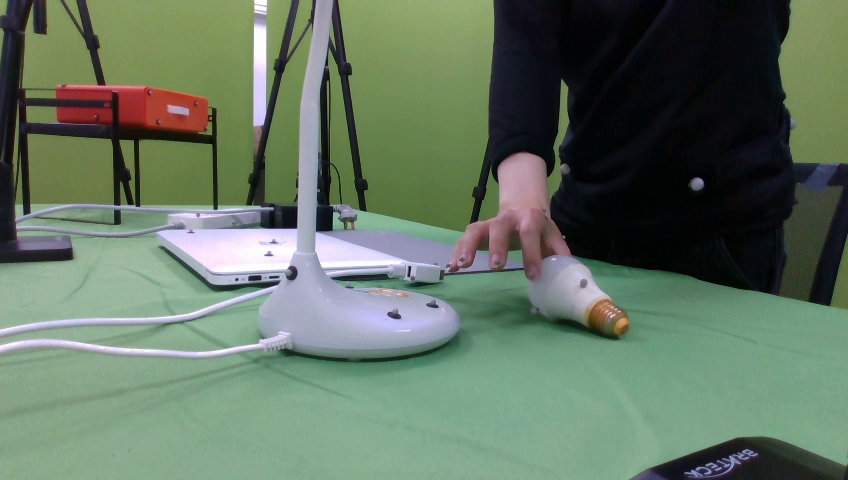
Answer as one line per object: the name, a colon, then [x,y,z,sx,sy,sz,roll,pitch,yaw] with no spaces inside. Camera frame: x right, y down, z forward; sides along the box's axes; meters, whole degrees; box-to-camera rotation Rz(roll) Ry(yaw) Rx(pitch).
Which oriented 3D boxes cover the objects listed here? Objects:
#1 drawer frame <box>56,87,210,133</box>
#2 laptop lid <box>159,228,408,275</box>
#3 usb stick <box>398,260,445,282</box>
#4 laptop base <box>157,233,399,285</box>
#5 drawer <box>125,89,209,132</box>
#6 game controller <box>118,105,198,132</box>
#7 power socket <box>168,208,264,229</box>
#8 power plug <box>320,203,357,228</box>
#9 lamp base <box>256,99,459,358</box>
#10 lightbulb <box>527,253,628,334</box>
drawer frame: [-0.598,-0.269,1.261,0.213,0.082,0.202,4,8,14]
laptop lid: [-0.201,0.007,0.806,0.243,0.013,0.355,-1,8,-31]
usb stick: [-0.001,0.036,0.696,0.027,0.021,0.059,6,-2,43]
laptop base: [-0.204,0.019,0.806,0.237,0.023,0.352,0,7,-33]
drawer: [-0.595,-0.268,1.263,0.211,0.073,0.195,4,8,15]
game controller: [-0.554,-0.252,1.254,0.097,0.051,0.155,6,11,19]
power socket: [-0.381,-0.038,1.128,0.072,0.032,0.227,4,8,16]
power plug: [-0.170,-0.046,1.209,0.073,0.052,0.035,-6,-17,-9]
lamp base: [-0.055,-0.013,0.463,0.160,0.180,0.180,6,11,27]
lightbulb: [0.137,0.050,0.534,0.060,0.059,0.107,-3,23,-32]
